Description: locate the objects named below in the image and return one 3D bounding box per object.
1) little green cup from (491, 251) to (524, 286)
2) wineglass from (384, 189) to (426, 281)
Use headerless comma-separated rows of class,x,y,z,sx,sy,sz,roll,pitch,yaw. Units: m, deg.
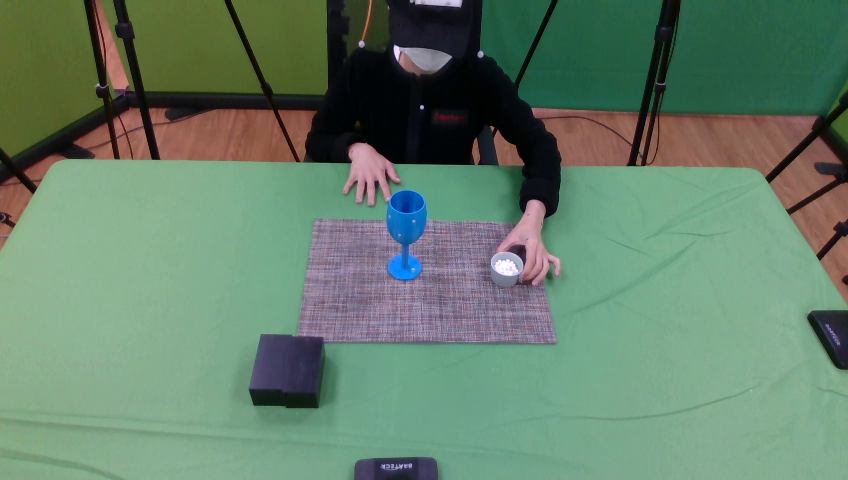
little green cup,0.154,0.056,1.137,0.061,0.039,0.061,2,49,-2
wineglass,-0.035,-0.006,1.091,0.074,0.173,0.073,2,46,-2
